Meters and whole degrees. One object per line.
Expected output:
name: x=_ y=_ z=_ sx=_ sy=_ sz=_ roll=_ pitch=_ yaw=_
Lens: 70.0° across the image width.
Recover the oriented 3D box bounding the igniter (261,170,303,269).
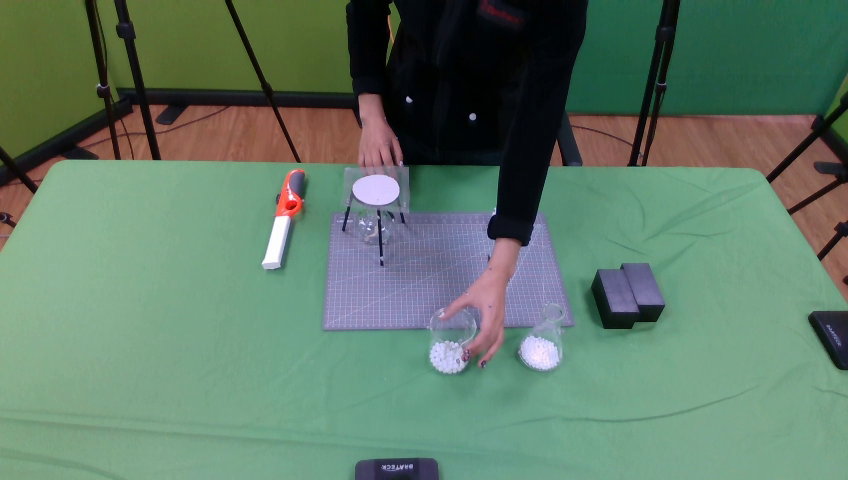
igniter: x=-0.283 y=-0.050 z=1.222 sx=0.057 sy=0.025 sz=0.275 roll=-5 pitch=45 yaw=7

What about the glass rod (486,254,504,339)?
glass rod: x=0.130 y=0.099 z=1.119 sx=0.008 sy=0.008 sz=0.198 roll=-1 pitch=47 yaw=-4

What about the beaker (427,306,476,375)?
beaker: x=0.043 y=0.169 z=0.987 sx=0.074 sy=0.101 sz=0.083 roll=-1 pitch=47 yaw=-5

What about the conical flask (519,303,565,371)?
conical flask: x=0.201 y=0.155 z=0.997 sx=0.075 sy=0.122 sz=0.075 roll=2 pitch=46 yaw=-2

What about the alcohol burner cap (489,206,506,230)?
alcohol burner cap: x=0.152 y=-0.047 z=1.241 sx=0.034 sy=0.048 sz=0.033 roll=2 pitch=45 yaw=-1

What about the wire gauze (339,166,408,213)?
wire gauze: x=-0.091 y=-0.096 z=1.110 sx=0.125 sy=0.011 sz=0.120 roll=2 pitch=45 yaw=-3

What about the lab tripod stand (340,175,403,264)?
lab tripod stand: x=-0.093 y=-0.050 z=1.160 sx=0.148 sy=0.132 sz=0.147 roll=2 pitch=44 yaw=-2

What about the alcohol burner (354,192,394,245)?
alcohol burner: x=-0.096 y=-0.048 z=1.171 sx=0.078 sy=0.119 sz=0.077 roll=4 pitch=45 yaw=-4
